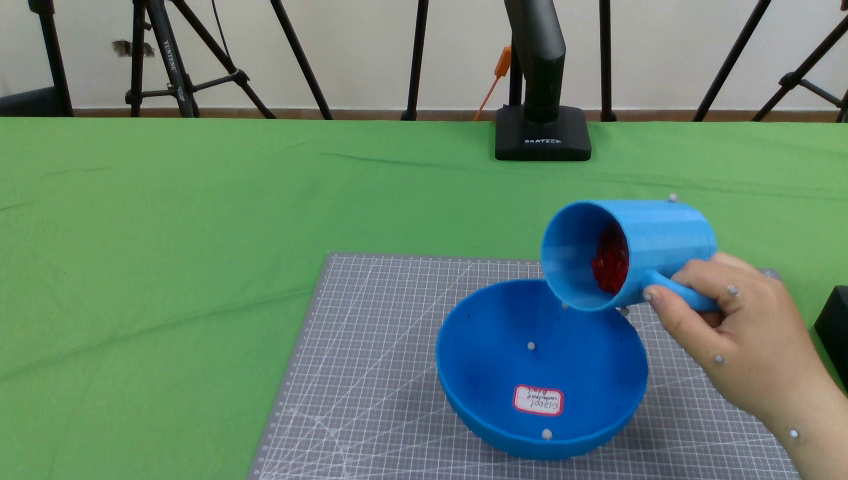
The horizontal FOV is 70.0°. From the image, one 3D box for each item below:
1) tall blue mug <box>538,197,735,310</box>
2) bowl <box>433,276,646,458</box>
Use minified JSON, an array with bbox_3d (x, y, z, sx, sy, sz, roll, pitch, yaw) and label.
[{"bbox_3d":[0.157,0.008,0.427,0.108,0.077,0.106,-2,-1,-38],"label":"tall blue mug"},{"bbox_3d":[0.083,0.106,0.458,0.151,0.077,0.150,-1,40,1],"label":"bowl"}]
